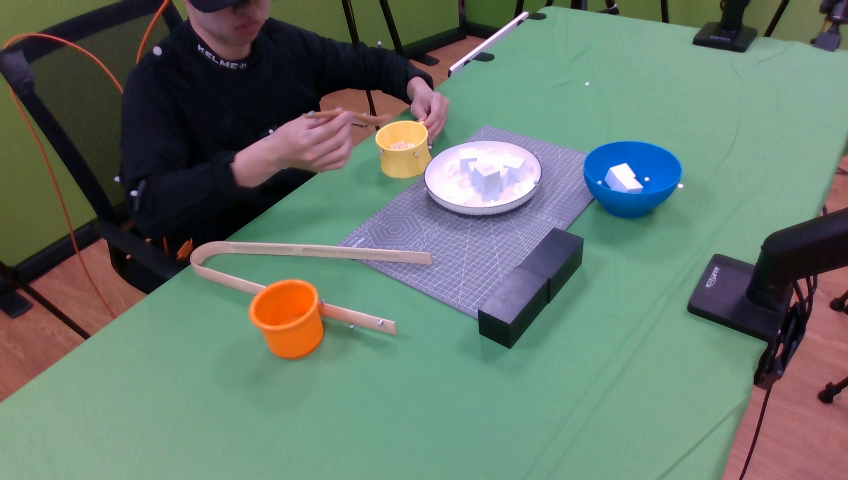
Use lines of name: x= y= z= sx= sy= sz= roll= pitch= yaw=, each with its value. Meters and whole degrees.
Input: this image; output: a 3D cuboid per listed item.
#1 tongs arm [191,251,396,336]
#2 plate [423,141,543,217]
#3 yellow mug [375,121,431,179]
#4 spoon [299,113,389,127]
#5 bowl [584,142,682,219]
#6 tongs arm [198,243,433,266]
tongs arm: x=-0.204 y=0.075 z=0.902 sx=0.382 sy=0.026 sz=0.051 roll=11 pitch=43 yaw=22
plate: x=0.103 y=-0.103 z=1.059 sx=0.207 sy=0.039 sz=0.206 roll=-4 pitch=40 yaw=4
yellow mug: x=-0.030 y=-0.180 z=1.147 sx=0.099 sy=0.064 sz=0.131 roll=24 pitch=51 yaw=29
spoon: x=-0.121 y=-0.187 z=0.932 sx=0.041 sy=0.021 sz=0.195 roll=-5 pitch=3 yaw=37
bowl: x=0.333 y=-0.087 z=0.980 sx=0.151 sy=0.077 sz=0.150 roll=-4 pitch=40 yaw=3
tongs arm: x=-0.177 y=0.026 z=0.961 sx=0.386 sy=0.028 sz=0.028 roll=2 pitch=44 yaw=12
